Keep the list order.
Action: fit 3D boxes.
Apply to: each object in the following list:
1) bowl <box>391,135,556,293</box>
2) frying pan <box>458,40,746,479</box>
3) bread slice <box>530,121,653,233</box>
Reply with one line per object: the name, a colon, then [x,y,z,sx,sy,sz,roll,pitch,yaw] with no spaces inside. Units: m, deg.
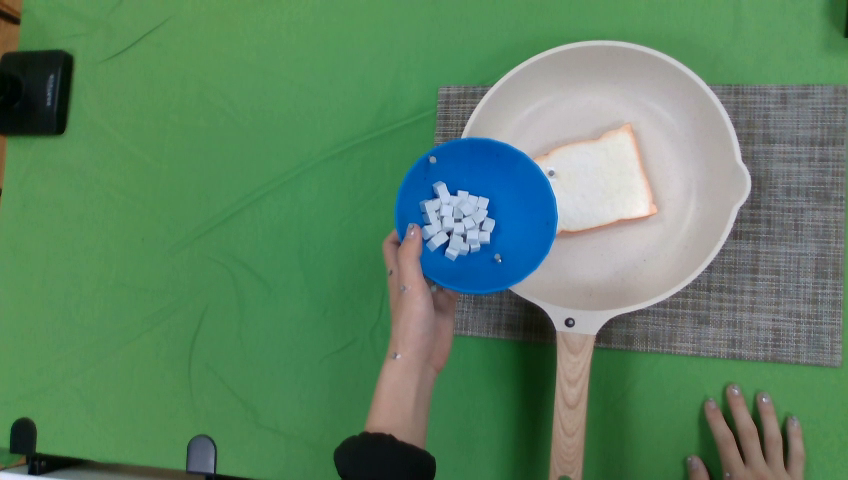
bowl: [0.045,-0.017,0.584,0.151,0.077,0.150,0,77,-1]
frying pan: [0.162,0.035,0.639,0.306,0.103,0.485,5,77,14]
bread slice: [0.178,-0.062,0.685,0.134,0.018,0.106,-19,81,8]
